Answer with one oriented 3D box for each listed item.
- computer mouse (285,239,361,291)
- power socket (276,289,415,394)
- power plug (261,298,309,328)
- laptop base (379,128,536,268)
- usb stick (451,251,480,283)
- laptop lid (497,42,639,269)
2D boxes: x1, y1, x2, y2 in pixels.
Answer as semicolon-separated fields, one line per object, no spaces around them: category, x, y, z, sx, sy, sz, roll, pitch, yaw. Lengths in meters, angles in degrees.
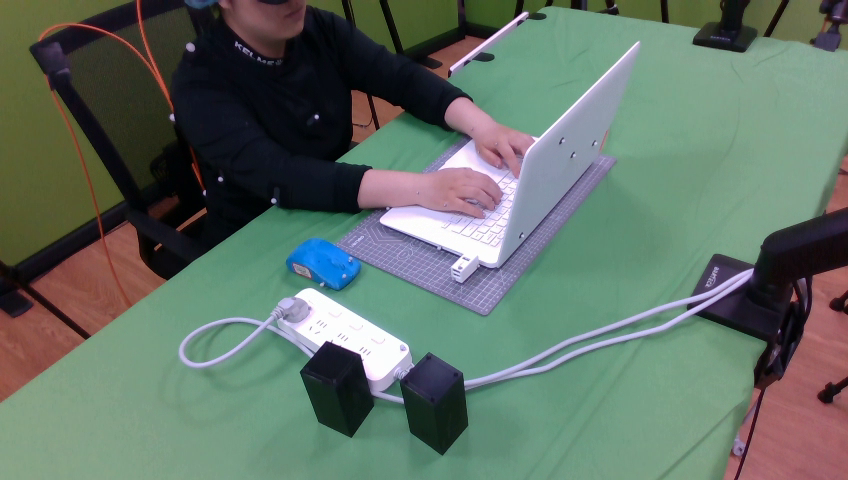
computer mouse;-0.158;0.036;0.940;0.116;0.041;0.063;22;46;25
power socket;-0.114;0.133;0.821;0.225;0.033;0.072;25;49;33
power plug;-0.192;0.107;0.831;0.073;0.053;0.035;-32;43;-25
laptop base;0.118;-0.088;1.058;0.233;0.023;0.355;19;47;33
usb stick;0.066;0.036;0.899;0.021;0.027;0.059;23;46;32
laptop lid;0.221;-0.130;0.913;0.013;0.242;0.357;31;51;21
